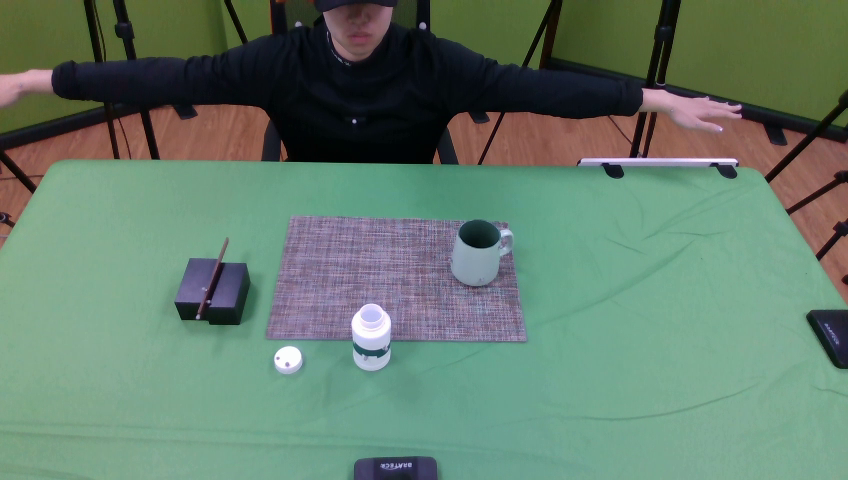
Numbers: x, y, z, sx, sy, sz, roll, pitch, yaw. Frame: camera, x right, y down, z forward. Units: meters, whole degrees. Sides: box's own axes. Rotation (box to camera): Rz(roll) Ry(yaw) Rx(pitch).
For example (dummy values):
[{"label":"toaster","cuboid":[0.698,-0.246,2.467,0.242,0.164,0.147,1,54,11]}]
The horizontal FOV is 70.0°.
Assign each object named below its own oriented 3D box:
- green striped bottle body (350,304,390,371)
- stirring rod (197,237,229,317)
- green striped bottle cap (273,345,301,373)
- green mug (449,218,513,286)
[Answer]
[{"label":"green striped bottle body","cuboid":[-0.086,0.154,0.976,0.063,0.120,0.063,2,46,-2]},{"label":"stirring rod","cuboid":[-0.363,0.060,1.047,0.006,0.014,0.175,7,46,-4]},{"label":"green striped bottle cap","cuboid":[-0.225,0.195,0.997,0.044,0.020,0.044,1,50,-1]},{"label":"green mug","cuboid":[0.110,0.018,1.126,0.125,0.105,0.092,-19,50,-21]}]
